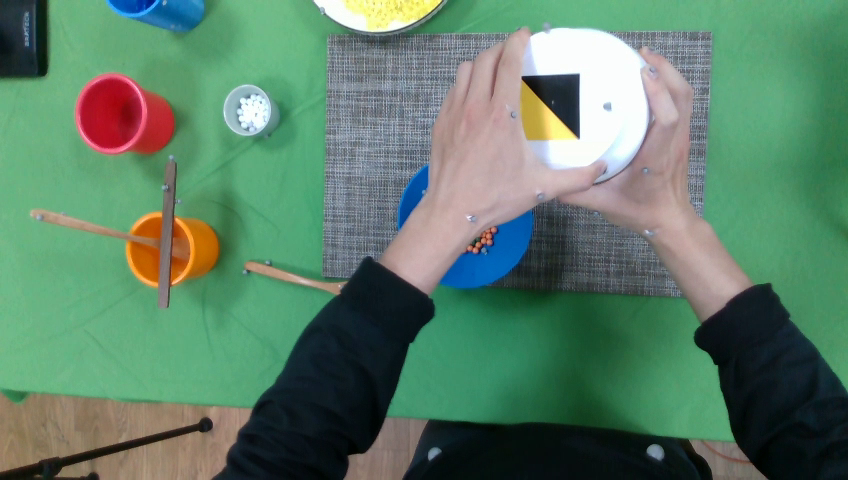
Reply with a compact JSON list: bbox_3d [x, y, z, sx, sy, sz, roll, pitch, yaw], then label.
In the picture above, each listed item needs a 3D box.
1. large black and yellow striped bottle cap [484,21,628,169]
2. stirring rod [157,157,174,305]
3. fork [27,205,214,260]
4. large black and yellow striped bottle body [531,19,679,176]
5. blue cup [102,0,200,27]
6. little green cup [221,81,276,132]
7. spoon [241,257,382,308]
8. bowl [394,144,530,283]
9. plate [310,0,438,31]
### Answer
[{"bbox_3d":[0.102,-0.113,0.481,0.114,0.019,0.115,5,100,32],"label":"large black and yellow striped bottle cap"},{"bbox_3d":[-0.306,-0.010,0.717,0.014,0.006,0.176,5,94,7],"label":"stirring rod"},{"bbox_3d":[-0.357,-0.009,0.728,0.209,0.018,0.028,17,100,-36],"label":"fork"},{"bbox_3d":[0.148,-0.124,0.552,0.130,0.184,0.131,5,100,32],"label":"large black and yellow striped bottle body"},{"bbox_3d":[-0.324,-0.302,0.730,0.092,0.100,0.092,1,93,11],"label":"blue cup"},{"bbox_3d":[-0.216,-0.163,0.752,0.061,0.038,0.061,1,93,10],"label":"little green cup"},{"bbox_3d":[-0.143,0.047,0.761,0.193,0.021,0.042,13,109,7],"label":"spoon"},{"bbox_3d":[0.046,-0.029,0.695,0.151,0.077,0.151,0,93,9],"label":"bowl"},{"bbox_3d":[-0.054,-0.351,0.716,0.209,0.038,0.209,0,94,9],"label":"plate"}]
